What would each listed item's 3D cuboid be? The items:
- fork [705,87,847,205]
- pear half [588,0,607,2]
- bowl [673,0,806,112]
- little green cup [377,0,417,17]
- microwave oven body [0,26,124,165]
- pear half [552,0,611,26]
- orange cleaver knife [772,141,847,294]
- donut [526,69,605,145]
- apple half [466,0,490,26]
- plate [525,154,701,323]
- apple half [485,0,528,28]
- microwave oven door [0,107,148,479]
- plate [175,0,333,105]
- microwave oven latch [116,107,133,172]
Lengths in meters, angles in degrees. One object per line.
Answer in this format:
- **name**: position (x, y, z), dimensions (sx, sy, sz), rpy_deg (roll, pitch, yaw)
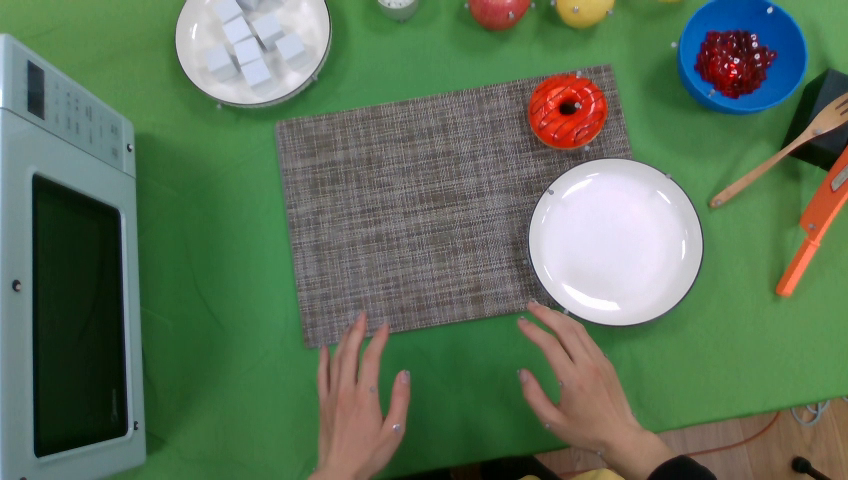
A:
- **fork**: position (0.430, -0.110, 0.730), dimensions (0.207, 0.018, 0.028), rpy_deg (-40, 87, 16)
- **pear half**: position (0.214, -0.341, 0.774), dimensions (0.070, 0.088, 0.031), rpy_deg (20, 83, 11)
- **bowl**: position (0.377, -0.221, 0.754), dimensions (0.151, 0.077, 0.151), rpy_deg (0, 82, 3)
- **little green cup**: position (-0.037, -0.331, 0.810), dimensions (0.061, 0.039, 0.061), rpy_deg (0, 80, 3)
- **microwave oven body**: position (-0.523, 0.048, 0.654), dimensions (0.326, 0.261, 0.440), rpy_deg (-7, 81, 1)
- **pear half**: position (0.197, -0.310, 0.760), dimensions (0.076, 0.110, 0.056), rpy_deg (22, 81, 10)
- **orange cleaver knife**: position (0.469, -0.035, 0.719), dimensions (0.012, 0.077, 0.212), rpy_deg (22, 112, 4)
- **donut**: position (0.178, -0.168, 0.767), dimensions (0.099, 0.048, 0.098), rpy_deg (-1, 82, 5)
- **apple half**: position (0.083, -0.326, 0.786), dimensions (0.053, 0.075, 0.081), rpy_deg (40, 87, 12)
- **plate**: position (0.228, -0.001, 0.742), dimensions (0.209, 0.038, 0.208), rpy_deg (0, 81, 2)
- **apple half**: position (0.114, -0.303, 0.780), dimensions (0.032, 0.081, 0.081), rpy_deg (39, 84, 12)
- **microwave oven door**: position (-0.373, 0.071, 0.638), dimensions (0.039, 0.244, 0.354), rpy_deg (-7, 80, 2)
- **plate**: position (-0.223, -0.276, 0.809), dimensions (0.207, 0.039, 0.207), rpy_deg (0, 81, 2)
- **microwave oven latch**: position (-0.391, -0.127, 0.773), dimensions (0.030, 0.029, 0.079), rpy_deg (-5, 81, 1)
